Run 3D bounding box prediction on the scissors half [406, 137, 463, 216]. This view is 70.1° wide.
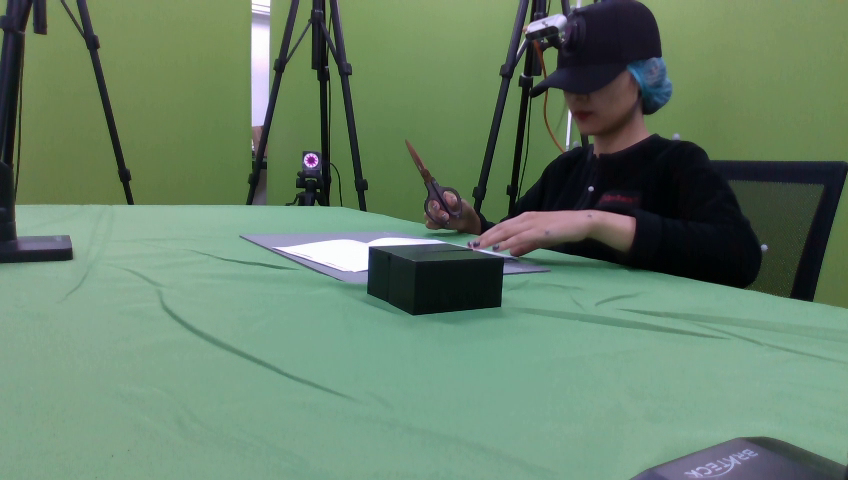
[{"bbox_3d":[0.019,-0.121,1.137,0.040,0.175,0.013,-39,9,-10],"label":"scissors half"}]

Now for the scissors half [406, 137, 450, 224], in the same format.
[{"bbox_3d":[0.002,-0.111,1.134,0.040,0.175,0.013,-22,6,-7],"label":"scissors half"}]
